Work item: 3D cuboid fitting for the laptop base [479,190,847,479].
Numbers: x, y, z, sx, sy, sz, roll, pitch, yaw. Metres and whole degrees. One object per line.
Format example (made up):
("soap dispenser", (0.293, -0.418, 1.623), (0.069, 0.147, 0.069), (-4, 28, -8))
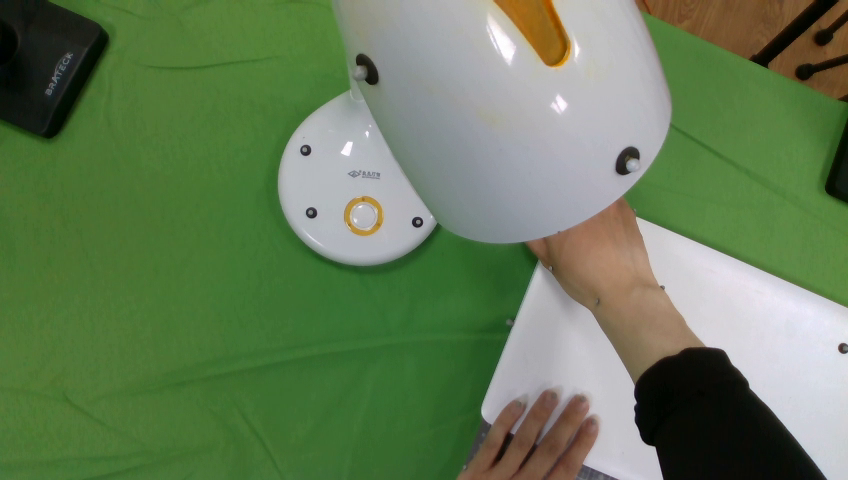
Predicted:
("laptop base", (0.253, 0.122, 0.579), (0.354, 0.023, 0.235), (23, 85, -1))

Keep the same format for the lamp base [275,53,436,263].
("lamp base", (-0.057, -0.081, 0.499), (0.161, 0.180, 0.178), (-7, 81, -5))

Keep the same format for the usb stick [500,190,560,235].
("usb stick", (0.104, -0.024, 0.578), (0.059, 0.027, 0.021), (27, 78, 1))

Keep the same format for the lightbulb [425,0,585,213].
("lightbulb", (0.028, -0.055, 0.238), (0.059, 0.109, 0.059), (-14, 49, 17))

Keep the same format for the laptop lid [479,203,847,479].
("laptop lid", (0.253, 0.123, 0.568), (0.357, 0.013, 0.241), (24, 84, -1))

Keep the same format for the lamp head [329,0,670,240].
("lamp head", (0.018, -0.078, 0.220), (0.112, 0.111, 0.124), (-48, 130, -8))
